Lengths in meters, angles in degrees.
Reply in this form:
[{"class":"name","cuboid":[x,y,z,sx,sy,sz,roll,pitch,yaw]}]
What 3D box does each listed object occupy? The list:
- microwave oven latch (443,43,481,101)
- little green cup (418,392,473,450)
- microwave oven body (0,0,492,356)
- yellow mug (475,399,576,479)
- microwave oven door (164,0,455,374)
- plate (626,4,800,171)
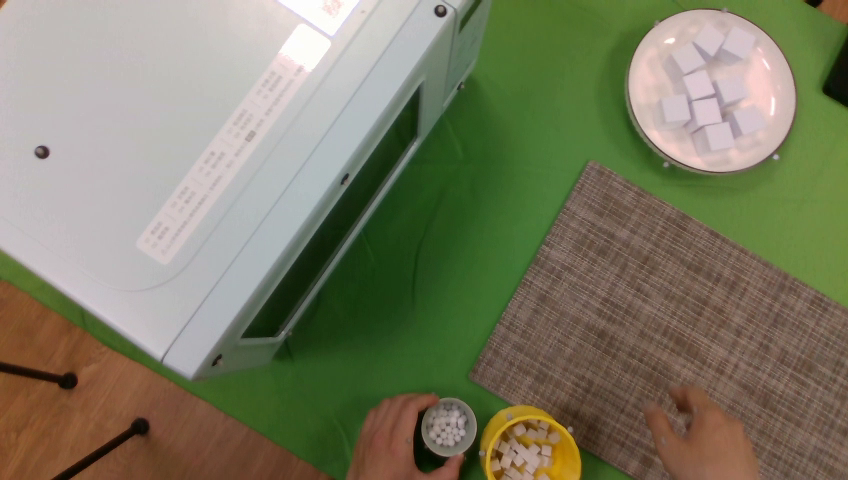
[{"class":"microwave oven latch","cuboid":[0.034,-0.201,0.708,0.030,0.029,0.079,37,83,2]},{"class":"little green cup","cuboid":[0.024,0.199,0.676,0.061,0.039,0.061,0,85,1]},{"class":"microwave oven body","cuboid":[-0.185,-0.152,0.596,0.326,0.260,0.441,34,83,2]},{"class":"yellow mug","cuboid":[0.097,0.240,0.658,0.100,0.064,0.131,43,86,3]},{"class":"microwave oven door","cuboid":[-0.089,-0.036,0.580,0.039,0.244,0.355,34,83,3]},{"class":"plate","cuboid":[0.346,-0.182,0.738,0.208,0.039,0.207,0,83,-2]}]
